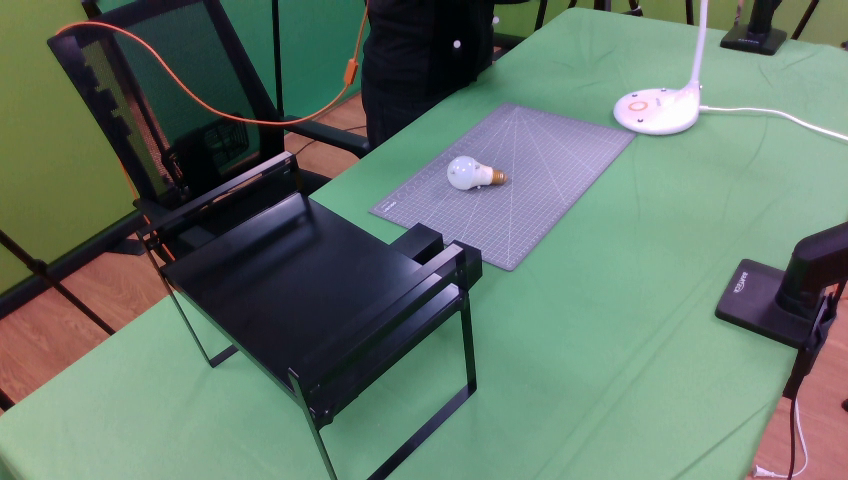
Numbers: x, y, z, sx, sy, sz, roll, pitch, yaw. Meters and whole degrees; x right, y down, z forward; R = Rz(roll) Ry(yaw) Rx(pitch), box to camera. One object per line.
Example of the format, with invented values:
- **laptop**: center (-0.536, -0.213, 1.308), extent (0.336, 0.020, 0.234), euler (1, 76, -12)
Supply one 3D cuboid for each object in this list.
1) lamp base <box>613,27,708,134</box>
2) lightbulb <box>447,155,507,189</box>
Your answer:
- **lamp base**: center (0.463, -0.316, 1.153), extent (0.179, 0.181, 0.159), euler (-5, 41, -1)
- **lightbulb**: center (0.095, -0.118, 1.073), extent (0.108, 0.059, 0.059), euler (7, 40, -7)
